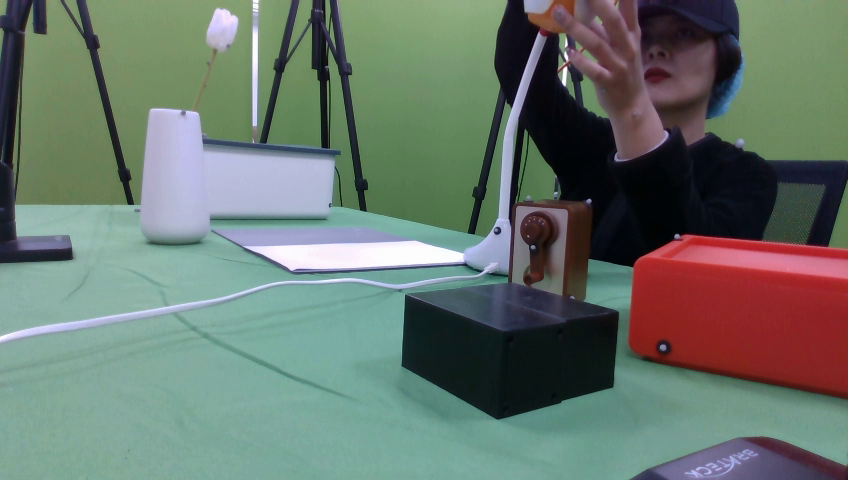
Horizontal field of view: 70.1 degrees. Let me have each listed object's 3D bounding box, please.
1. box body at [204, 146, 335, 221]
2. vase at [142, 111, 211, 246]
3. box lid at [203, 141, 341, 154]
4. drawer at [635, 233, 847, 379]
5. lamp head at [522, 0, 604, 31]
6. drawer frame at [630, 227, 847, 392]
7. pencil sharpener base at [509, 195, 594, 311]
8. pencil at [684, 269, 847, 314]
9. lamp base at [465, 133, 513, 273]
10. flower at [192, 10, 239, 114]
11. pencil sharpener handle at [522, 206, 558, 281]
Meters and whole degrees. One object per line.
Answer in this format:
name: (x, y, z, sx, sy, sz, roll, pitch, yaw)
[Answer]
box body: (-0.411, -0.135, 1.386, 0.366, 0.160, 0.253, -2, 9, -29)
vase: (-0.378, -0.093, 0.920, 0.098, 0.200, 0.098, 2, 9, 0)
box lid: (-0.396, -0.212, 1.373, 0.373, 0.015, 0.262, -1, 9, -29)
drawer: (0.292, 0.045, 0.488, 0.193, 0.073, 0.213, 7, 9, 30)
lamp head: (0.149, -0.282, 0.629, 0.112, 0.123, 0.112, 13, 18, -4)
drawer frame: (0.292, 0.043, 0.484, 0.201, 0.082, 0.214, 7, 9, 29)
pencil sharpener base: (0.126, 0.011, 0.601, 0.061, 0.107, 0.077, 7, 9, 30)
pencil: (0.307, 0.046, 0.516, 0.194, 0.012, 0.012, 13, 5, -11)
lamp base: (0.133, -0.052, 0.808, 0.160, 0.180, 0.180, 6, 12, 26)
flower: (-0.354, -0.174, 0.915, 0.038, 0.361, 0.044, 18, -3, 12)
pencil sharpener handle: (0.102, 0.003, 0.555, 0.036, 0.067, 0.031, 0, 5, 31)
